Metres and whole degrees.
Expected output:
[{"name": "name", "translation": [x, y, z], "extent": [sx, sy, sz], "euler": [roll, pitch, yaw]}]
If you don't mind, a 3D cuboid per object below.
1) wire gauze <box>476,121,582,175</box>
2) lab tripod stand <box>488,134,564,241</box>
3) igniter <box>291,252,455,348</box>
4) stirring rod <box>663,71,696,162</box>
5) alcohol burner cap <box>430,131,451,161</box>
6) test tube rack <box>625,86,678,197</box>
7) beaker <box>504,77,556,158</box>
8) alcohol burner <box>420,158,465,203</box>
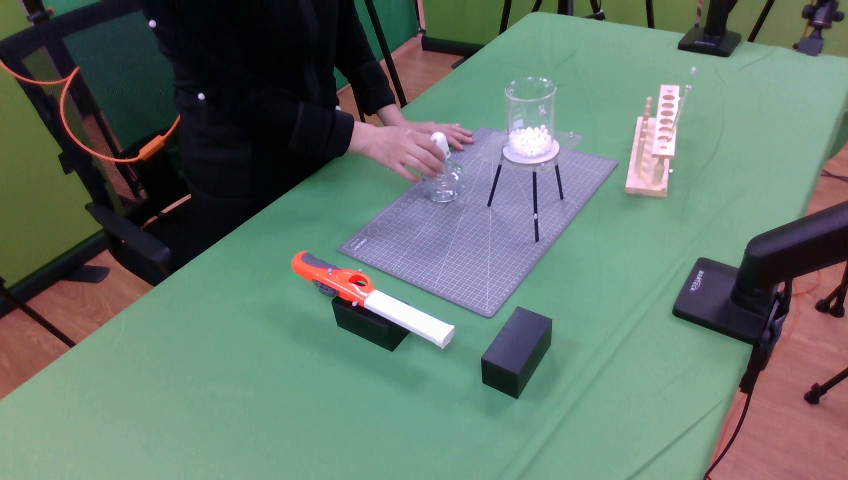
[{"name": "wire gauze", "translation": [0.162, -0.142, 0.929], "extent": [0.120, 0.011, 0.125], "euler": [19, 49, 32]}, {"name": "lab tripod stand", "translation": [0.168, -0.092, 0.972], "extent": [0.148, 0.132, 0.147], "euler": [-5, 41, 5]}, {"name": "igniter", "translation": [-0.080, 0.076, 0.822], "extent": [0.274, 0.025, 0.057], "euler": [23, 45, 27]}, {"name": "stirring rod", "translation": [0.410, -0.195, 0.981], "extent": [0.014, 0.177, 0.006], "euler": [11, 50, 13]}, {"name": "alcohol burner cap", "translation": [0.026, -0.160, 1.012], "extent": [0.034, 0.048, 0.033], "euler": [-7, 44, 8]}, {"name": "test tube rack", "translation": [0.412, -0.184, 1.088], "extent": [0.066, 0.085, 0.242], "euler": [9, 43, 18]}, {"name": "beaker", "translation": [0.160, -0.181, 0.900], "extent": [0.084, 0.101, 0.073], "euler": [-33, 46, -27]}, {"name": "alcohol burner", "translation": [0.030, -0.125, 1.045], "extent": [0.078, 0.119, 0.077], "euler": [-5, 42, 5]}]
